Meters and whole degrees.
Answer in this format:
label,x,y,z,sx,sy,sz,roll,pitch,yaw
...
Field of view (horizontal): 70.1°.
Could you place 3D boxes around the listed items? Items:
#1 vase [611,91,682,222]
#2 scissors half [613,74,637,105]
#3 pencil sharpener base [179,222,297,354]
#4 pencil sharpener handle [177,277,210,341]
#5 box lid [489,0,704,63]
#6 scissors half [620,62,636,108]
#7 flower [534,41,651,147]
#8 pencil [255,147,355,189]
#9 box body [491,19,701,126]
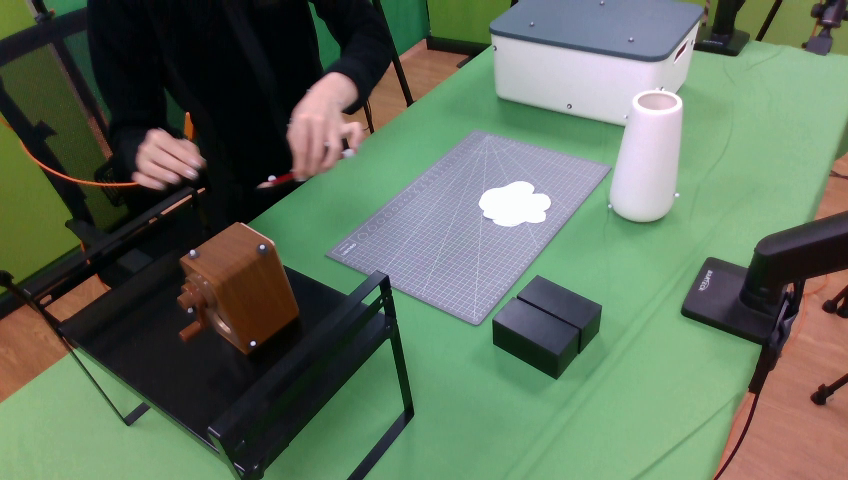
label,x,y,z,sx,sy,sz,roll,pitch,yaw
vase,0.348,-0.125,0.935,0.098,0.201,0.097,-3,40,3
scissors half,0.427,-0.330,1.306,0.013,0.040,0.174,31,31,-14
pencil sharpener base,-0.182,0.050,0.598,0.061,0.107,0.077,27,51,33
pencil sharpener handle,-0.220,0.067,0.564,0.036,0.068,0.031,34,55,24
box lid,0.345,-0.441,1.217,0.369,0.015,0.264,21,49,29
scissors half,0.434,-0.340,1.298,0.013,0.040,0.174,25,42,-11
flower,0.364,-0.319,1.319,0.038,0.044,0.359,-4,48,-50
pencil,-0.155,-0.097,0.811,0.012,0.012,0.195,18,30,26
box body,0.352,-0.384,1.268,0.361,0.161,0.255,21,48,29
